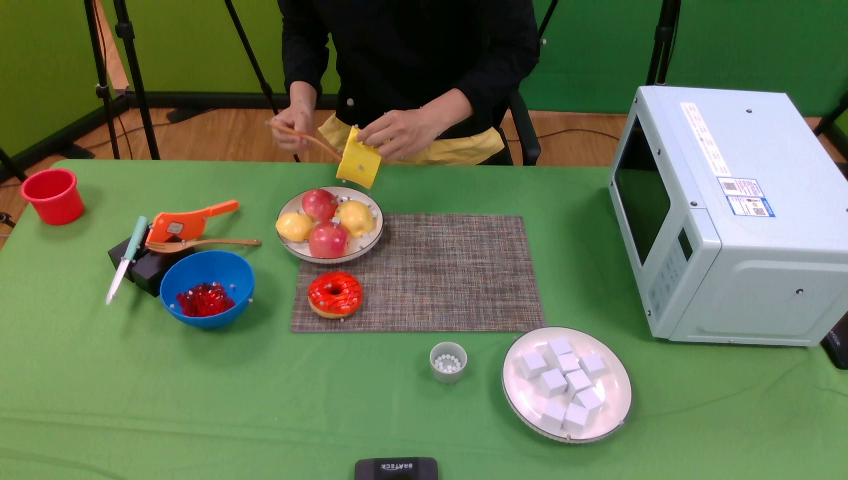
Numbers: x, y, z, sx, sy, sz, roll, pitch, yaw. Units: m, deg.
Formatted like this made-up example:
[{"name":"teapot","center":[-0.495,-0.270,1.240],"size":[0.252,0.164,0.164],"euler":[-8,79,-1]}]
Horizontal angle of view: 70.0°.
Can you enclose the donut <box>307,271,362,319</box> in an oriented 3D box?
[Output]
[{"name":"donut","center":[-0.157,0.097,1.073],"size":[0.099,0.048,0.098],"euler":[4,45,-4]}]

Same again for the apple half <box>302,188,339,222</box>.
[{"name":"apple half","center":[-0.205,-0.076,1.217],"size":[0.081,0.033,0.081],"euler":[18,47,-20]}]

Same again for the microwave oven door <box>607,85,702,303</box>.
[{"name":"microwave oven door","center":[0.423,-0.094,1.140],"size":[0.039,0.245,0.353],"euler":[2,46,-1]}]

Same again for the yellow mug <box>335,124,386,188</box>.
[{"name":"yellow mug","center":[-0.110,-0.156,1.081],"size":[0.064,0.131,0.099],"euler":[18,64,-12]}]

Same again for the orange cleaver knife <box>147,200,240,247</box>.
[{"name":"orange cleaver knife","center":[-0.435,-0.033,1.157],"size":[0.012,0.077,0.211],"euler":[31,26,18]}]

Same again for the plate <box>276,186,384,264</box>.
[{"name":"plate","center":[-0.184,-0.027,1.194],"size":[0.209,0.038,0.208],"euler":[2,46,-2]}]

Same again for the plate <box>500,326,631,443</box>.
[{"name":"plate","center":[0.224,0.234,0.978],"size":[0.208,0.039,0.206],"euler":[2,46,-2]}]

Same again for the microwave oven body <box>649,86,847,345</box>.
[{"name":"microwave oven body","center":[0.568,-0.053,1.118],"size":[0.326,0.261,0.439],"euler":[2,45,-1]}]

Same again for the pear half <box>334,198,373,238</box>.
[{"name":"pear half","center":[-0.147,-0.060,1.210],"size":[0.076,0.056,0.109],"euler":[-16,46,-24]}]

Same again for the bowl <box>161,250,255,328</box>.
[{"name":"bowl","center":[-0.362,0.097,1.040],"size":[0.151,0.077,0.150],"euler":[2,45,-2]}]

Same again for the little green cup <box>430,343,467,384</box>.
[{"name":"little green cup","center":[0.039,0.203,0.993],"size":[0.061,0.039,0.061],"euler":[2,46,-2]}]

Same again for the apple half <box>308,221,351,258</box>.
[{"name":"apple half","center":[-0.180,-0.005,1.150],"size":[0.074,0.053,0.080],"euler":[14,43,8]}]

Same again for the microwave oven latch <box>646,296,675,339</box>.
[{"name":"microwave oven latch","center":[0.412,0.134,1.061],"size":[0.030,0.029,0.078],"euler":[4,45,1]}]

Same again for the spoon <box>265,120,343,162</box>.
[{"name":"spoon","center":[-0.193,-0.174,1.091],"size":[0.194,0.021,0.041],"euler":[26,16,-20]}]

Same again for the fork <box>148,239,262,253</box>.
[{"name":"fork","center":[-0.398,0.008,1.117],"size":[0.208,0.019,0.028],"euler":[-5,34,-37]}]

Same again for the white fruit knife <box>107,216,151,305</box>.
[{"name":"white fruit knife","center":[-0.518,0.032,1.066],"size":[0.027,0.016,0.206],"euler":[-19,45,19]}]

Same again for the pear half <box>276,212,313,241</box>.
[{"name":"pear half","center":[-0.245,-0.035,1.178],"size":[0.070,0.031,0.088],"euler":[41,42,0]}]
